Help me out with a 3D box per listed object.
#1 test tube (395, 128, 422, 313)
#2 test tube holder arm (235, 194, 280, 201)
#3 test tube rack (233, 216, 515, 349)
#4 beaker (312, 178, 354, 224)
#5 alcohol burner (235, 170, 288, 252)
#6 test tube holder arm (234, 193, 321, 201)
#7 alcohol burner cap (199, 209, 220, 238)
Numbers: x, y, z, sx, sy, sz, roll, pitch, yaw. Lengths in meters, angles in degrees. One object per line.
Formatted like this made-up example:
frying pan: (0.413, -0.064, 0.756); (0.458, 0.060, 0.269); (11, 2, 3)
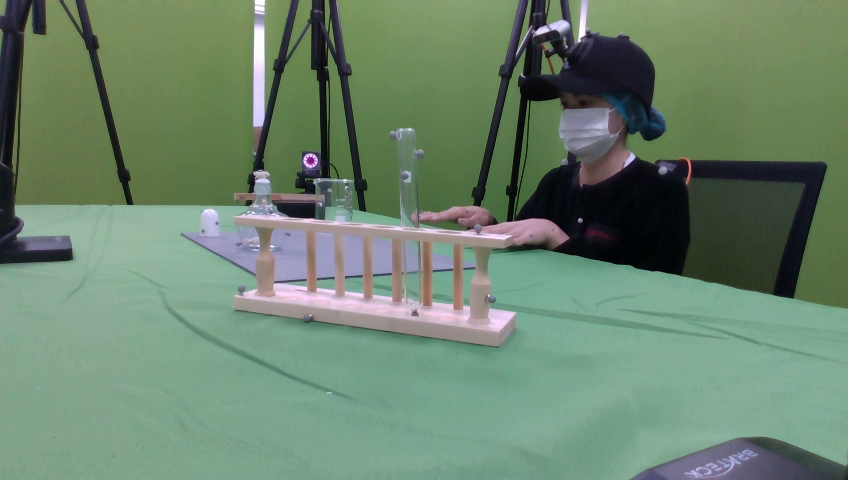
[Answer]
test tube: (-0.013, -0.015, 0.491); (0.017, 0.150, 0.017); (-2, 5, 1)
test tube holder arm: (-0.336, -0.086, 1.221); (0.088, 0.015, 0.010); (-1, 16, -29)
test tube rack: (-0.045, 0.029, 0.526); (0.241, 0.085, 0.067); (5, 8, 19)
beaker: (-0.174, -0.065, 1.140); (0.084, 0.100, 0.073); (-5, 10, -41)
alcohol burner: (-0.236, -0.042, 0.882); (0.078, 0.119, 0.078); (2, 9, 0)
test tube holder arm: (-0.299, -0.088, 1.248); (0.179, 0.015, 0.013); (-1, 16, -30)
alcohol burner cap: (-0.356, -0.027, 1.002); (0.034, 0.048, 0.034); (2, 7, 0)
